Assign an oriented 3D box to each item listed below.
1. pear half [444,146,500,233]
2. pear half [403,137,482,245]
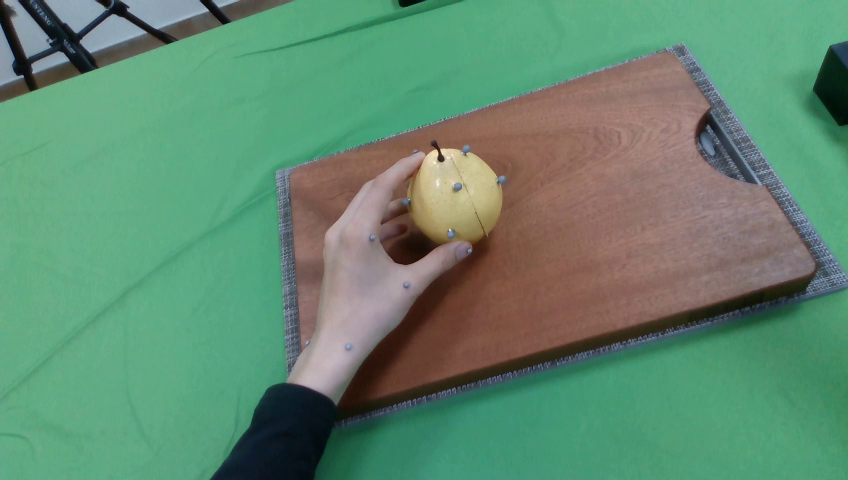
[{"bbox_3d":[0.043,-0.048,0.496,0.031,0.089,0.069,-25,47,-1],"label":"pear half"},{"bbox_3d":[0.008,-0.040,0.488,0.056,0.111,0.075,-26,50,-2],"label":"pear half"}]
